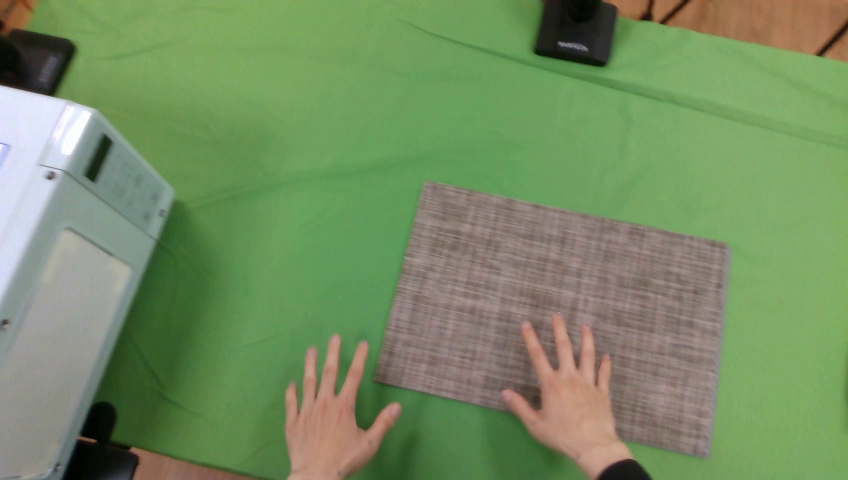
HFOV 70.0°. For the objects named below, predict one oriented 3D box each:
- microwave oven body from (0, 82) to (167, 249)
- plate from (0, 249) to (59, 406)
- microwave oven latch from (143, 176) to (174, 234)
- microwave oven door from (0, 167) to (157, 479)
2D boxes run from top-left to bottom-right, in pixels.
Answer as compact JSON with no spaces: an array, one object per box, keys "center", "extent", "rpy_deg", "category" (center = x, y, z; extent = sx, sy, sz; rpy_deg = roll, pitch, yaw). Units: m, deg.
[{"center":[-0.563,0.052,0.716],"extent":[0.326,0.261,0.439],"rpy_deg":[13,74,3],"category":"microwave oven body"},{"center":[-0.558,0.114,0.758],"extent":[0.209,0.038,0.208],"rpy_deg":[0,75,-1],"category":"plate"},{"center":[-0.378,-0.051,0.850],"extent":[0.030,0.029,0.079],"rpy_deg":[15,74,4],"category":"microwave oven latch"},{"center":[-0.430,0.122,0.692],"extent":[0.039,0.245,0.354],"rpy_deg":[12,73,4],"category":"microwave oven door"}]
